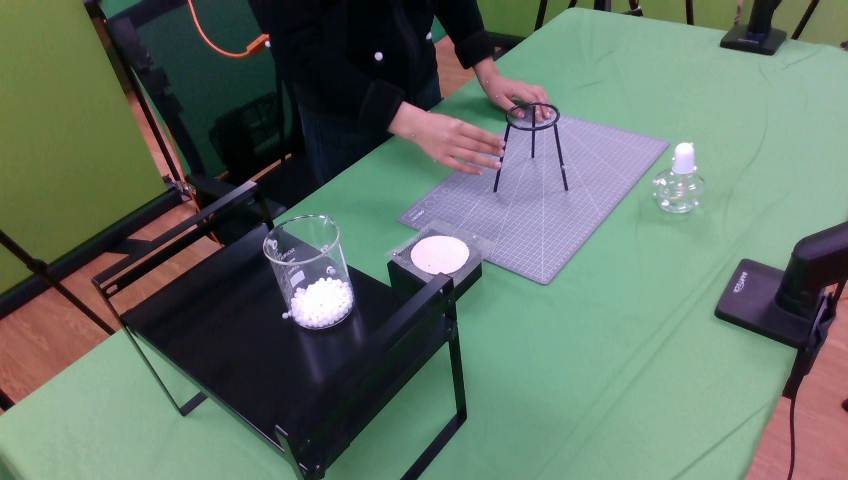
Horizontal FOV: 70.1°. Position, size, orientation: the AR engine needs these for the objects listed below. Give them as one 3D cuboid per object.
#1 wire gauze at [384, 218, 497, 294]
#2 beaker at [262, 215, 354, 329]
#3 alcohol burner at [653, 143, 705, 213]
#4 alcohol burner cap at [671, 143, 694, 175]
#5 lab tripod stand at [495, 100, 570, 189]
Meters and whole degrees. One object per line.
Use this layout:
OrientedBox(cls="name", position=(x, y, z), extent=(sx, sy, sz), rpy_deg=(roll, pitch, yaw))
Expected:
OrientedBox(cls="wire gauze", position=(0.024, 0.016, 0.886), extent=(0.124, 0.011, 0.122), rpy_deg=(28, 49, 33))
OrientedBox(cls="beaker", position=(-0.112, 0.034, 0.616), extent=(0.073, 0.101, 0.084), rpy_deg=(13, 44, 23))
OrientedBox(cls="alcohol burner", position=(0.408, -0.102, 0.963), extent=(0.078, 0.119, 0.077), rpy_deg=(-6, 42, 6))
OrientedBox(cls="alcohol burner cap", position=(0.403, -0.129, 0.941), extent=(0.034, 0.048, 0.033), rpy_deg=(-9, 39, 8))
OrientedBox(cls="lab tripod stand", position=(0.186, -0.161, 1.043), extent=(0.148, 0.132, 0.147), rpy_deg=(-4, 43, 4))
